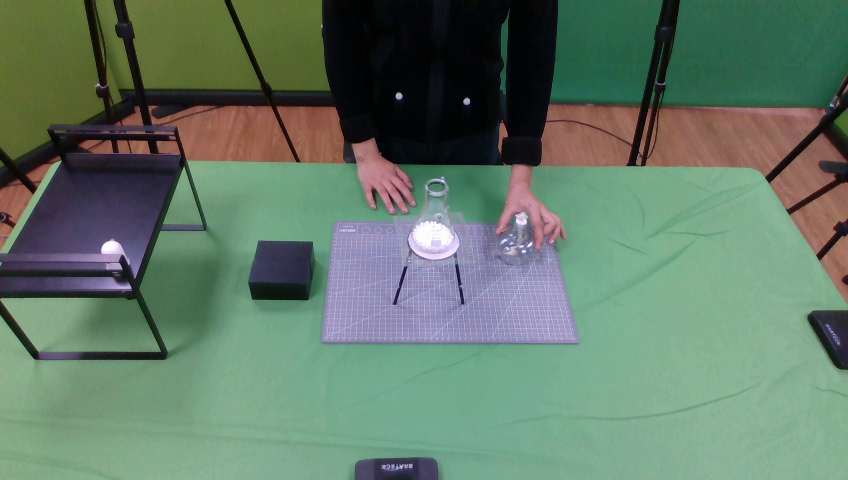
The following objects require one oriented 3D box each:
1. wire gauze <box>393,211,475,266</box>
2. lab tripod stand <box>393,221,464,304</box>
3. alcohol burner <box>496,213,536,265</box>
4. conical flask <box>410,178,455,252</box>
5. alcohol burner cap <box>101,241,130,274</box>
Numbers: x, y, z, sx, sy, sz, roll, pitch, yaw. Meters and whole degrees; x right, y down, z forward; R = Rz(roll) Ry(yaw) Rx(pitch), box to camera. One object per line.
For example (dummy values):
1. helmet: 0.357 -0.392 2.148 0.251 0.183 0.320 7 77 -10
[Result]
1. wire gauze: 0.015 -0.002 1.029 0.125 0.011 0.120 -6 45 -6
2. lab tripod stand: 0.009 0.045 1.075 0.148 0.132 0.147 2 48 -2
3. alcohol burner: 0.177 -0.009 1.152 0.078 0.120 0.077 1 50 -1
4. conical flask: 0.017 -0.043 0.987 0.075 0.122 0.075 2 47 -2
5. alcohol burner cap: -0.449 0.022 0.878 0.034 0.048 0.033 2 45 -2
